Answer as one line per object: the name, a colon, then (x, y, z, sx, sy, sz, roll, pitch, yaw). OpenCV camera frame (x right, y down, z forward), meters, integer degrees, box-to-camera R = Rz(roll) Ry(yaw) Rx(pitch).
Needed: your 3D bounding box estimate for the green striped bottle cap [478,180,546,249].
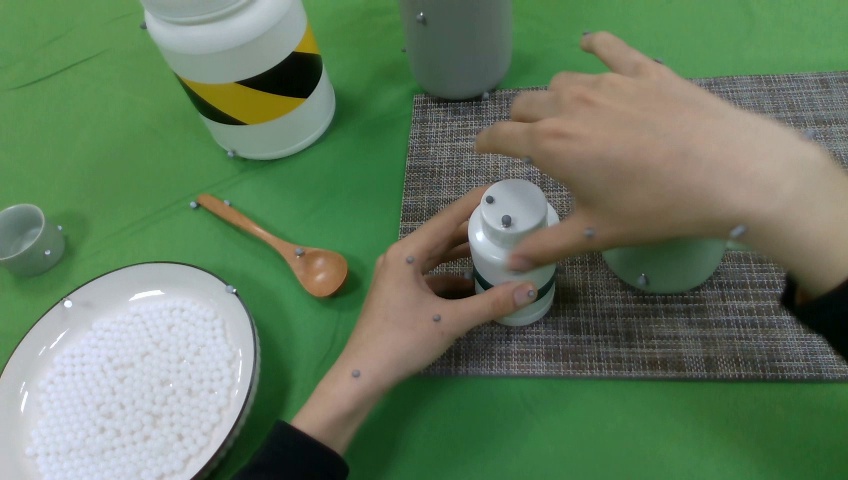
green striped bottle cap: (0.057, -0.017, 0.393, 0.044, 0.020, 0.044, -3, 58, 5)

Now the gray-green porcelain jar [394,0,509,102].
gray-green porcelain jar: (0.029, -0.206, 0.579, 0.106, 0.128, 0.105, -4, 53, 6)

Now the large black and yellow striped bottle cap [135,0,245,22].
large black and yellow striped bottle cap: (-0.180, -0.218, 0.486, 0.115, 0.019, 0.114, -3, 56, 6)

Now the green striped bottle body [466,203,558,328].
green striped bottle body: (0.064, 0.012, 0.436, 0.063, 0.120, 0.062, -4, 57, 7)

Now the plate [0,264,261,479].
plate: (-0.223, 0.116, 0.467, 0.209, 0.038, 0.207, -4, 57, 6)

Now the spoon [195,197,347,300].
spoon: (-0.141, -0.001, 0.538, 0.192, 0.022, 0.041, 28, 84, 23)

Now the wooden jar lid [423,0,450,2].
wooden jar lid: (0.021, -0.244, 0.529, 0.108, 0.021, 0.107, -6, 55, 9)

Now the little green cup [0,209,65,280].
little green cup: (-0.368, 0.006, 0.559, 0.061, 0.039, 0.061, -4, 57, 6)

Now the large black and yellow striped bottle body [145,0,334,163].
large black and yellow striped bottle body: (-0.167, -0.175, 0.556, 0.130, 0.186, 0.129, -4, 57, 7)

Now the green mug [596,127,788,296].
green mug: (0.194, -0.016, 0.443, 0.125, 0.106, 0.092, 8, 58, 13)
